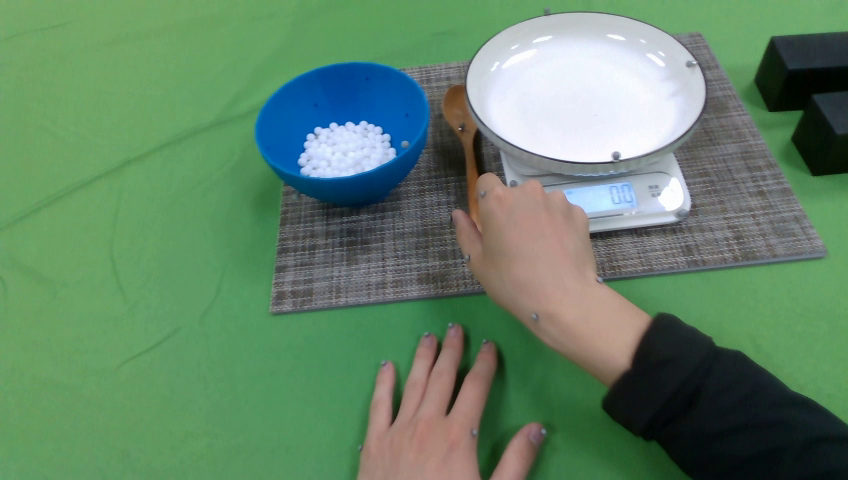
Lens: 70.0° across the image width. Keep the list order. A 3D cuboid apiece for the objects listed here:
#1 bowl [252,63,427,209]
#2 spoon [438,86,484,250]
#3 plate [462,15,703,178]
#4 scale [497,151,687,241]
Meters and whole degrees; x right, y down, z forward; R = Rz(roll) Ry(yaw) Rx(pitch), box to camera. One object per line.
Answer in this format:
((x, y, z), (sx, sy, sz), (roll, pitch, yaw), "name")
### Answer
((-0.068, -0.081, 0.544), (0.151, 0.077, 0.150), (-3, 53, 4), "bowl")
((0.038, -0.073, 0.561), (0.042, 0.022, 0.192), (3, 52, -9), "spoon")
((0.138, -0.129, 0.546), (0.209, 0.038, 0.207), (-2, 53, 4), "plate")
((0.142, -0.091, 0.558), (0.148, 0.032, 0.199), (-7, 53, 2), "scale")
